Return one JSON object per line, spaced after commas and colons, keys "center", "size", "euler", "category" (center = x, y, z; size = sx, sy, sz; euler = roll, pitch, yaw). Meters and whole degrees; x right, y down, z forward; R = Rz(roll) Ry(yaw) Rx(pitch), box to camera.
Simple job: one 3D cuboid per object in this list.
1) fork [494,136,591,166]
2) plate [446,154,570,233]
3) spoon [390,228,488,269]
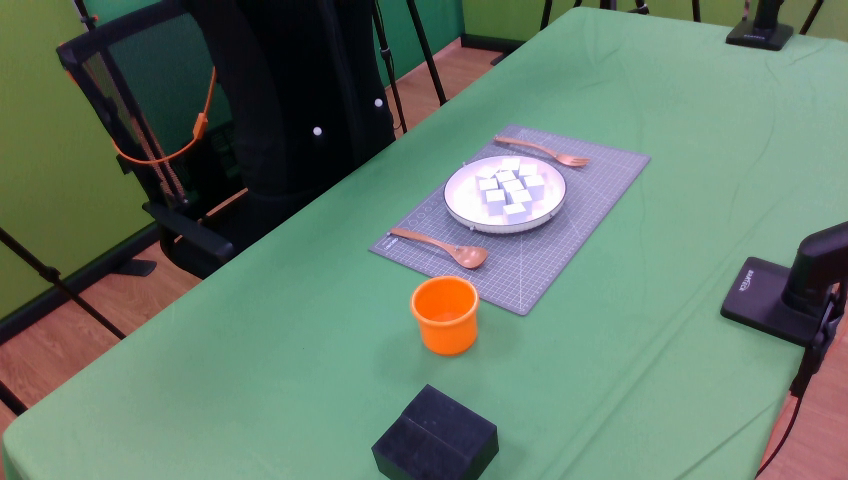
{"center": [0.219, -0.171, 1.144], "size": [0.205, 0.019, 0.028], "euler": [24, 57, 31], "category": "fork"}
{"center": [0.142, -0.076, 1.033], "size": [0.207, 0.039, 0.206], "euler": [-5, 40, 5], "category": "plate"}
{"center": [0.019, 0.006, 0.970], "size": [0.192, 0.022, 0.041], "euler": [21, 66, 31], "category": "spoon"}
